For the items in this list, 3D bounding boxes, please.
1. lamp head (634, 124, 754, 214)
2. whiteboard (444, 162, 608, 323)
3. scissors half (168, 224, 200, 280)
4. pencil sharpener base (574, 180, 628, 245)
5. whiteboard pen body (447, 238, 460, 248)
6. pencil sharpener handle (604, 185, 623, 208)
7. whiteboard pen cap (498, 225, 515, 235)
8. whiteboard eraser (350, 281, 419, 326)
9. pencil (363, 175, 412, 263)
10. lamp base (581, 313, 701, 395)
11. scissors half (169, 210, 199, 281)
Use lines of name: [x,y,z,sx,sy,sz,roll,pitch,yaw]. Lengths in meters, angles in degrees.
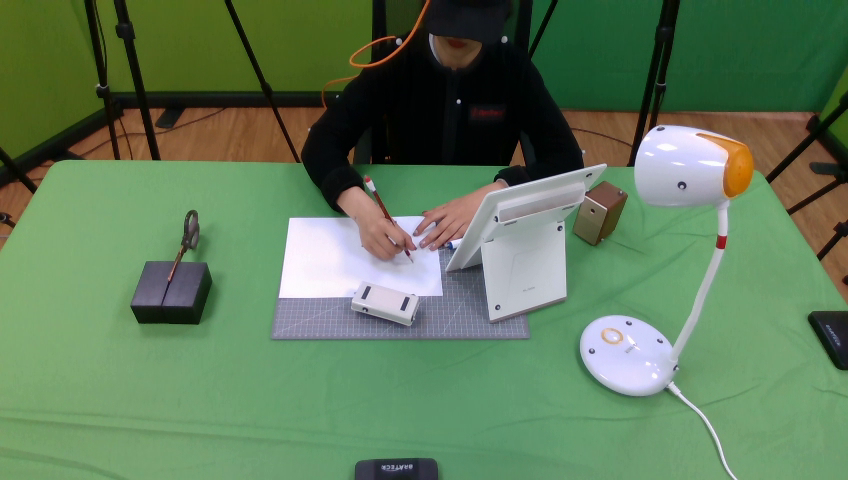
lamp head: [0.351,-0.089,0.776,0.112,0.113,0.122,-30,30,-28]
whiteboard: [0.186,0.025,1.029,0.217,0.306,0.143,-14,68,-18]
scissors half: [-0.440,0.023,1.111,0.013,0.040,0.174,7,29,-6]
pencil sharpener base: [0.355,-0.056,1.217,0.076,0.107,0.061,-33,56,-31]
whiteboard pen body: [0.112,-0.005,1.204,0.141,0.017,0.017,-13,49,-18]
pencil sharpener handle: [0.390,-0.091,1.235,0.030,0.068,0.036,-33,70,-31]
whiteboard pen cap: [0.166,-0.019,1.222,0.033,0.018,0.018,-14,49,-19]
whiteboard eraser: [-0.069,0.113,1.065,0.112,0.042,0.055,14,46,9]
pencil: [-0.065,-0.035,1.123,0.012,0.195,0.012,-22,25,11]
lamp base: [0.361,0.144,0.973,0.178,0.181,0.160,34,53,23]
scissors half: [-0.438,0.007,1.098,0.013,0.040,0.174,3,47,-3]
